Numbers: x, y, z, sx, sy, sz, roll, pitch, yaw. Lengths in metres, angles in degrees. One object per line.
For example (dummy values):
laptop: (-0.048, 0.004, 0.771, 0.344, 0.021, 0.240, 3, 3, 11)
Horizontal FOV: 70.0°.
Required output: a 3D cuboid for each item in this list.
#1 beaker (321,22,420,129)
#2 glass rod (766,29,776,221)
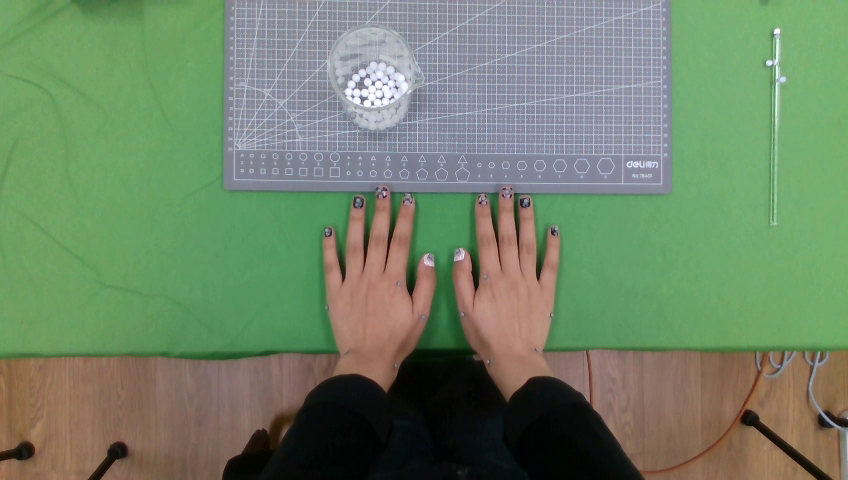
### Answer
beaker: (-0.047, -0.146, 0.559, 0.084, 0.100, 0.074, 9, 89, -3)
glass rod: (0.360, -0.119, 0.628, 0.008, 0.008, 0.199, 2, 89, -3)
